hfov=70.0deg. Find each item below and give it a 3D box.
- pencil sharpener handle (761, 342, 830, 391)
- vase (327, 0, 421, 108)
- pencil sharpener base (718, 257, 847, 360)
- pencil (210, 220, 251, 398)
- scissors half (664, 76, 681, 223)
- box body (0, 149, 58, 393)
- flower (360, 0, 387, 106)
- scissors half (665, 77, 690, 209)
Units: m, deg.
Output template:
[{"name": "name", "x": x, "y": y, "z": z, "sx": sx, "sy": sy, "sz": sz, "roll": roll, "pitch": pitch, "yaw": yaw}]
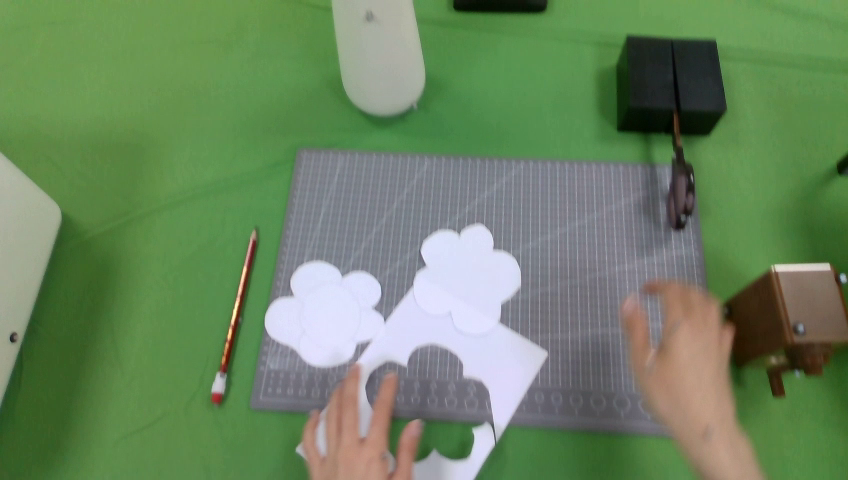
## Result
[{"name": "pencil sharpener handle", "x": 0.323, "y": 0.111, "z": 0.527, "sx": 0.036, "sy": 0.068, "sz": 0.030, "roll": 4, "pitch": 67, "yaw": -12}, {"name": "vase", "x": -0.056, "y": -0.231, "z": 0.644, "sx": 0.098, "sy": 0.201, "sz": 0.097, "roll": -1, "pitch": 66, "yaw": 3}, {"name": "pencil sharpener base", "x": 0.327, "y": 0.069, "z": 0.558, "sx": 0.061, "sy": 0.108, "sz": 0.076, "roll": -1, "pitch": 68, "yaw": 1}, {"name": "pencil", "x": -0.198, "y": 0.066, "z": 0.628, "sx": 0.012, "sy": 0.012, "sz": 0.192, "roll": 3, "pitch": 66, "yaw": 3}, {"name": "scissors half", "x": 0.267, "y": -0.101, "z": 0.656, "sx": 0.013, "sy": 0.040, "sz": 0.174, "roll": 2, "pitch": 75, "yaw": 11}, {"name": "box body", "x": -0.531, "y": 0.075, "z": 0.549, "sx": 0.254, "sy": 0.161, "sz": 0.361, "roll": 3, "pitch": 68, "yaw": 3}, {"name": "flower", "x": -0.065, "y": -0.276, "z": 0.572, "sx": 0.044, "sy": 0.365, "sz": 0.038, "roll": -4, "pitch": 49, "yaw": 4}, {"name": "scissors half", "x": 0.264, "y": -0.109, "z": 0.638, "sx": 0.013, "sy": 0.040, "sz": 0.173, "roll": 4, "pitch": 58, "yaw": 6}]
